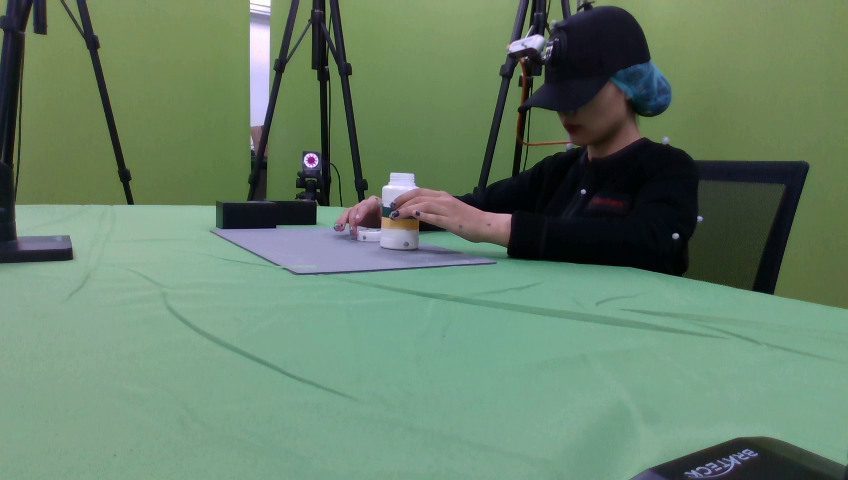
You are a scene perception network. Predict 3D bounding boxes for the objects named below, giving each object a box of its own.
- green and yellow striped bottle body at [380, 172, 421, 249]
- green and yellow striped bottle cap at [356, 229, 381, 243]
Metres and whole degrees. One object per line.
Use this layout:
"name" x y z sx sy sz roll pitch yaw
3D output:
"green and yellow striped bottle body" -0.037 -0.048 0.960 0.063 0.119 0.063 3 7 0
"green and yellow striped bottle cap" -0.094 -0.007 1.040 0.045 0.020 0.045 3 6 0
